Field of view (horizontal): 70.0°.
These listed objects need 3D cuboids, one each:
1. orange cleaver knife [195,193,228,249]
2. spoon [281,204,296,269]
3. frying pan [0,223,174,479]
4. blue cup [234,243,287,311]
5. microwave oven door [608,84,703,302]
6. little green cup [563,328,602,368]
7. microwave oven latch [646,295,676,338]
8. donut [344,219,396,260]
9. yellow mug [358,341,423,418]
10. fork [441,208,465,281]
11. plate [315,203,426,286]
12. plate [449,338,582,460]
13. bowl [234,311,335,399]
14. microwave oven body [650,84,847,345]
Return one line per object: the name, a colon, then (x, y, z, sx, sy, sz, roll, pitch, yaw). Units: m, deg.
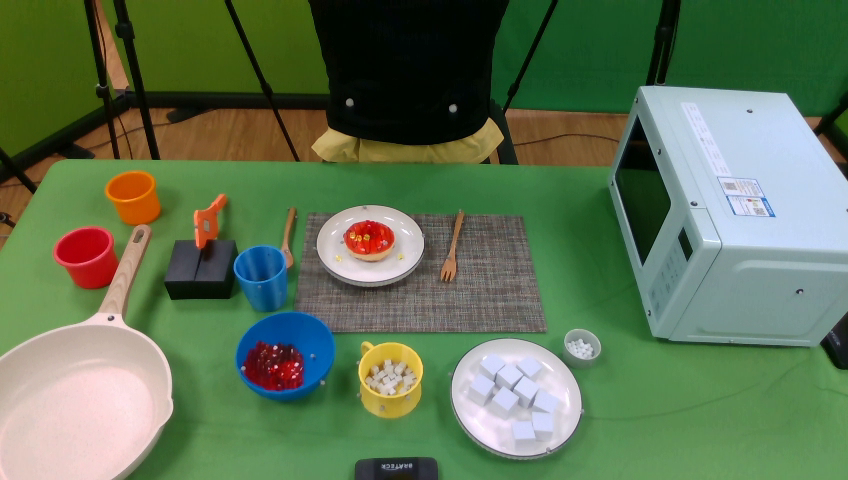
orange cleaver knife: (-0.406, -0.041, 1.163, 0.012, 0.077, 0.210, -1, 18, -3)
spoon: (-0.266, -0.008, 1.182, 0.041, 0.022, 0.192, -14, 46, 12)
frying pan: (-0.505, 0.169, 0.941, 0.307, 0.103, 0.485, 5, 54, -1)
blue cup: (-0.276, 0.072, 1.052, 0.093, 0.101, 0.092, 1, 48, -1)
microwave oven door: (0.424, -0.096, 1.138, 0.039, 0.245, 0.353, 2, 47, -1)
little green cup: (0.266, 0.185, 1.025, 0.061, 0.039, 0.061, 1, 45, -1)
microwave oven latch: (0.413, 0.133, 1.060, 0.030, 0.029, 0.078, 4, 46, 1)
donut: (-0.103, -0.002, 1.158, 0.099, 0.048, 0.098, 2, 43, -2)
yellow mug: (-0.063, 0.210, 0.961, 0.100, 0.064, 0.130, -29, 54, -27)
fork: (0.061, 0.005, 1.190, 0.028, 0.019, 0.206, 3, 47, 13)
plate: (-0.101, 0.012, 1.159, 0.209, 0.038, 0.208, 2, 46, -2)
plate: (0.141, 0.251, 0.955, 0.208, 0.039, 0.206, 2, 47, -2)
bowl: (-0.214, 0.194, 0.956, 0.151, 0.077, 0.150, 2, 46, -2)
microwave oven body: (0.569, -0.054, 1.116, 0.326, 0.261, 0.439, 2, 46, -1)
